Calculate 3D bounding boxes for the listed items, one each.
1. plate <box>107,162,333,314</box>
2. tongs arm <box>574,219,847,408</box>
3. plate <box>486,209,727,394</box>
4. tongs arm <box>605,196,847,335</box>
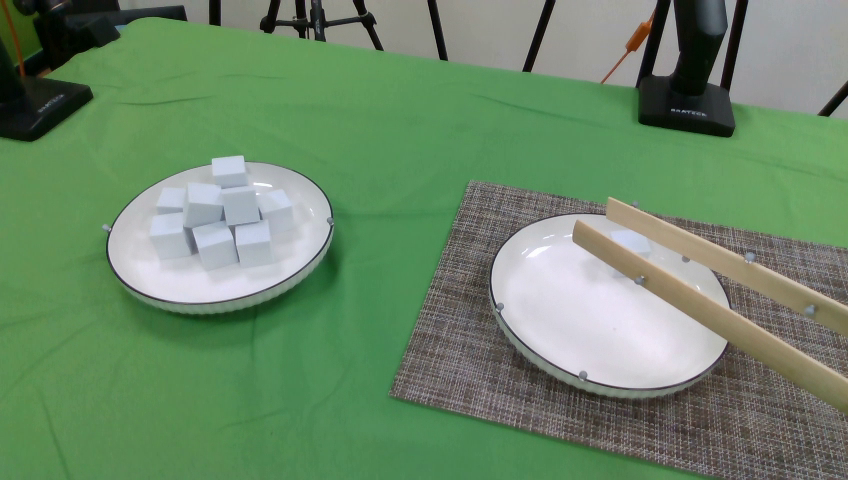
[{"bbox_3d":[-0.193,-0.002,0.594,0.209,0.038,0.207,1,42,-1],"label":"plate"},{"bbox_3d":[0.254,0.079,0.382,0.028,0.028,0.383,-31,48,-31],"label":"tongs arm"},{"bbox_3d":[0.158,0.052,0.543,0.208,0.039,0.205,1,43,-1],"label":"plate"},{"bbox_3d":[0.275,0.065,0.394,0.381,0.027,0.051,31,53,33],"label":"tongs arm"}]
